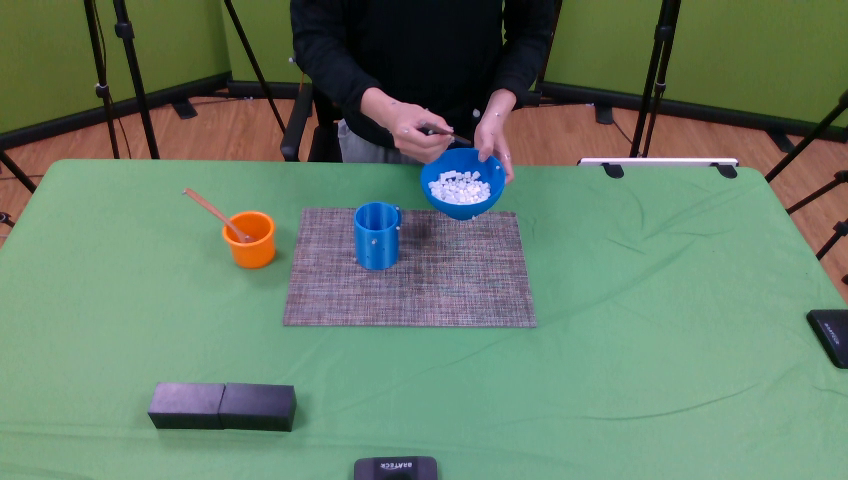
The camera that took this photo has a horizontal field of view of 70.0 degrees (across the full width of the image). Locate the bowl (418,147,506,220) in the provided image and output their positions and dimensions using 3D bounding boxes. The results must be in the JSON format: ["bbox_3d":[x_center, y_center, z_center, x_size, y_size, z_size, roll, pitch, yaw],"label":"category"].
[{"bbox_3d":[0.067,-0.088,1.080,0.151,0.077,0.150,-2,49,2],"label":"bowl"}]

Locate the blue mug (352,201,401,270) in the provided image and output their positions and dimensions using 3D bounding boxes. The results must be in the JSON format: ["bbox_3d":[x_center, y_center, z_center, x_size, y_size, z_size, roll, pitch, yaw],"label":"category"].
[{"bbox_3d":[-0.082,-0.017,1.144,0.082,0.106,0.116,30,51,22],"label":"blue mug"}]

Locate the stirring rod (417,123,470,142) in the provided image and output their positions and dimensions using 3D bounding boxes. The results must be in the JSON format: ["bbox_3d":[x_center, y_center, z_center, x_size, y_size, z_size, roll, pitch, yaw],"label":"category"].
[{"bbox_3d":[0.034,-0.170,0.968,0.014,0.006,0.176,4,2,27],"label":"stirring rod"}]

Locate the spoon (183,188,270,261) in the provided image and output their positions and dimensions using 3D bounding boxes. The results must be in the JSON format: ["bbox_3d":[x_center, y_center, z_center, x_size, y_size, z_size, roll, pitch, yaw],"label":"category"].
[{"bbox_3d":[-0.360,-0.029,1.110,0.021,0.194,0.041,-21,30,41],"label":"spoon"}]
